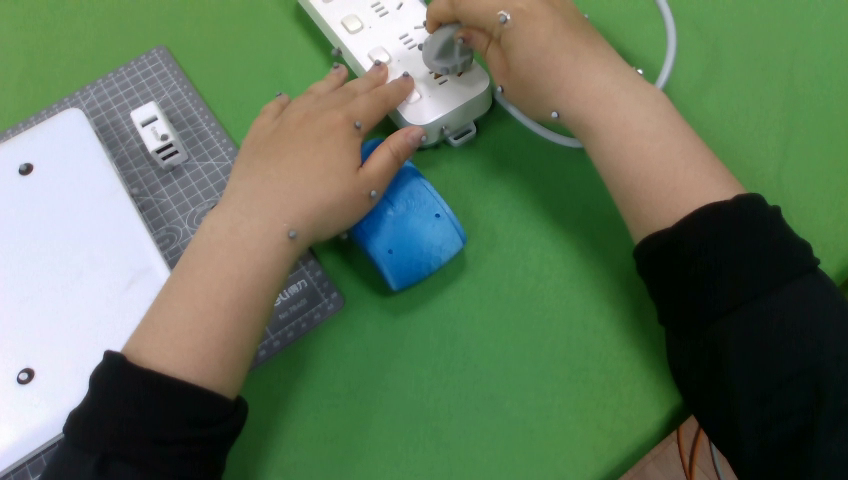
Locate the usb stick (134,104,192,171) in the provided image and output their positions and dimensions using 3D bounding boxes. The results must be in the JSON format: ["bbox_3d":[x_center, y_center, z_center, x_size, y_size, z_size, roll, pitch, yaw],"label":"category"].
[{"bbox_3d":[-0.198,-0.082,0.456,0.021,0.027,0.058,-32,62,-8],"label":"usb stick"}]

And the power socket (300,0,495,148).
[{"bbox_3d":[-0.028,-0.160,0.475,0.072,0.033,0.224,-32,64,-9],"label":"power socket"}]

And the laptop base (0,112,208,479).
[{"bbox_3d":[-0.340,0.078,0.398,0.354,0.023,0.233,-34,68,-11],"label":"laptop base"}]

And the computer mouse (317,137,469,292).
[{"bbox_3d":[-0.024,-0.023,0.403,0.063,0.041,0.116,-34,60,-7],"label":"computer mouse"}]

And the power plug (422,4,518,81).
[{"bbox_3d":[0.034,-0.132,0.426,0.073,0.053,0.035,-12,59,-17],"label":"power plug"}]

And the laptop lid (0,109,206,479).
[{"bbox_3d":[-0.340,0.074,0.387,0.357,0.013,0.239,-32,66,-10],"label":"laptop lid"}]
